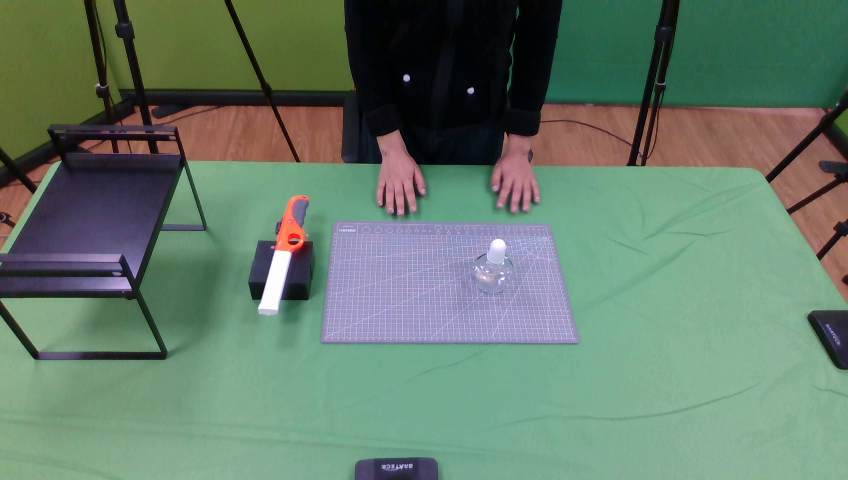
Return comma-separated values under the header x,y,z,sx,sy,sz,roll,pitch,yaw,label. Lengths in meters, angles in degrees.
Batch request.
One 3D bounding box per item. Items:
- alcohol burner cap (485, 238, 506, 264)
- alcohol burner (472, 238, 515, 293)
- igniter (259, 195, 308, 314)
x,y,z,sx,sy,sz,roll,pitch,yaw,label
0.129,0.016,1.076,0.034,0.048,0.033,3,52,-4,alcohol burner cap
0.128,0.041,1.101,0.078,0.120,0.077,1,47,-1,alcohol burner
-0.252,0.016,1.094,0.057,0.025,0.275,6,48,-3,igniter
